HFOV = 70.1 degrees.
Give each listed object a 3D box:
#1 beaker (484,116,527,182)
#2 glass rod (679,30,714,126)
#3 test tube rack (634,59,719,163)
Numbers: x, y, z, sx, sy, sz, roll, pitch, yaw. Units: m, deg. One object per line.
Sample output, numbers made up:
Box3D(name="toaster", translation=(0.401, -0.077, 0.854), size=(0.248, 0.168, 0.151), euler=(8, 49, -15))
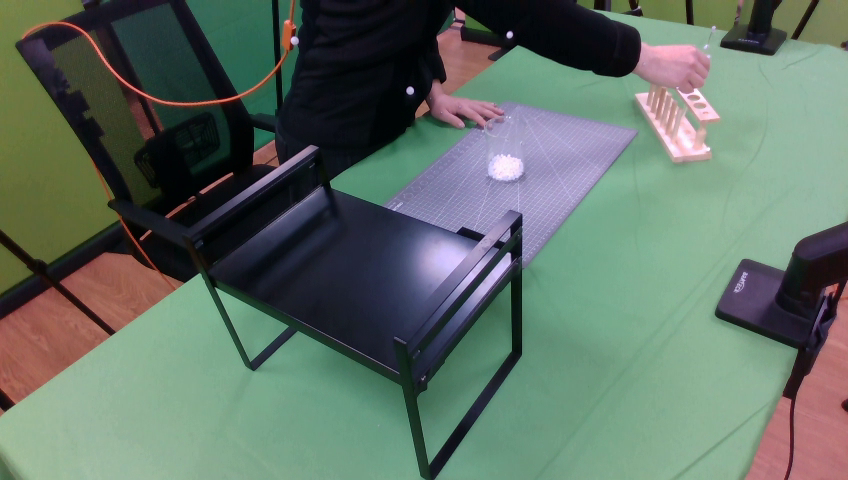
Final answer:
Box3D(name="beaker", translation=(0.147, -0.162, 1.079), size=(0.073, 0.101, 0.084), euler=(13, 44, 22))
Box3D(name="glass rod", translation=(0.485, -0.283, 1.083), size=(0.008, 0.200, 0.008), euler=(-1, 48, 2))
Box3D(name="test tube rack", translation=(0.471, -0.250, 1.148), size=(0.067, 0.085, 0.241), euler=(-6, 40, 3))
